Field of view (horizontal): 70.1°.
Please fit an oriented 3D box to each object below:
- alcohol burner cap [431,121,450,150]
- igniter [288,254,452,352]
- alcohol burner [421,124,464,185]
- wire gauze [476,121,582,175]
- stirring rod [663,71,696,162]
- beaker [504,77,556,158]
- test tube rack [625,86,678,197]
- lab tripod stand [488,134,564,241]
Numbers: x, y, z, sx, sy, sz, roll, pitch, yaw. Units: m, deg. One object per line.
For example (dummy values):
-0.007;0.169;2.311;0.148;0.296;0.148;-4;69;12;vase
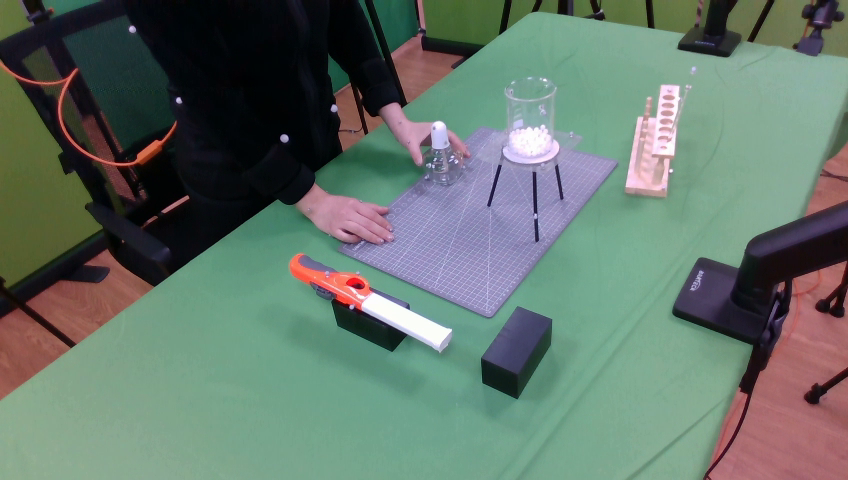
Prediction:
0.027;-0.185;1.059;0.034;0.048;0.033;-5;37;4;alcohol burner cap
-0.084;0.079;0.818;0.274;0.025;0.057;23;46;27;igniter
0.031;-0.158;1.083;0.078;0.119;0.077;-5;43;5;alcohol burner
0.162;-0.142;0.929;0.120;0.011;0.125;19;49;32;wire gauze
0.410;-0.195;0.981;0.014;0.177;0.006;11;50;14;stirring rod
0.160;-0.181;0.900;0.084;0.101;0.073;-32;46;-27;beaker
0.412;-0.184;1.088;0.066;0.085;0.242;9;43;18;test tube rack
0.168;-0.092;0.972;0.148;0.132;0.147;-5;41;5;lab tripod stand
